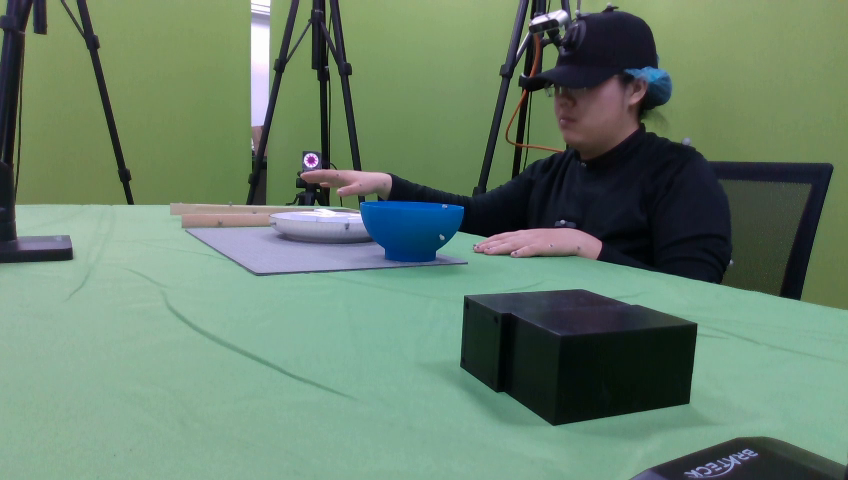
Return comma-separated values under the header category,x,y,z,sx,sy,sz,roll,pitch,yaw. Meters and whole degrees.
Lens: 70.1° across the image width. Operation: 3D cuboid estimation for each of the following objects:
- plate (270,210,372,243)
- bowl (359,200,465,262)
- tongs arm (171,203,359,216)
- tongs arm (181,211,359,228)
category,x,y,z,sx,sy,sz,roll,pitch,yaw
plate,-0.161,-0.023,1.054,0.208,0.039,0.207,2,7,0
bowl,-0.018,-0.013,0.859,0.151,0.077,0.151,2,7,0
tongs arm,-0.331,-0.058,1.295,0.387,0.026,0.050,0,9,-25
tongs arm,-0.291,-0.043,1.225,0.390,0.028,0.028,-3,7,-38
